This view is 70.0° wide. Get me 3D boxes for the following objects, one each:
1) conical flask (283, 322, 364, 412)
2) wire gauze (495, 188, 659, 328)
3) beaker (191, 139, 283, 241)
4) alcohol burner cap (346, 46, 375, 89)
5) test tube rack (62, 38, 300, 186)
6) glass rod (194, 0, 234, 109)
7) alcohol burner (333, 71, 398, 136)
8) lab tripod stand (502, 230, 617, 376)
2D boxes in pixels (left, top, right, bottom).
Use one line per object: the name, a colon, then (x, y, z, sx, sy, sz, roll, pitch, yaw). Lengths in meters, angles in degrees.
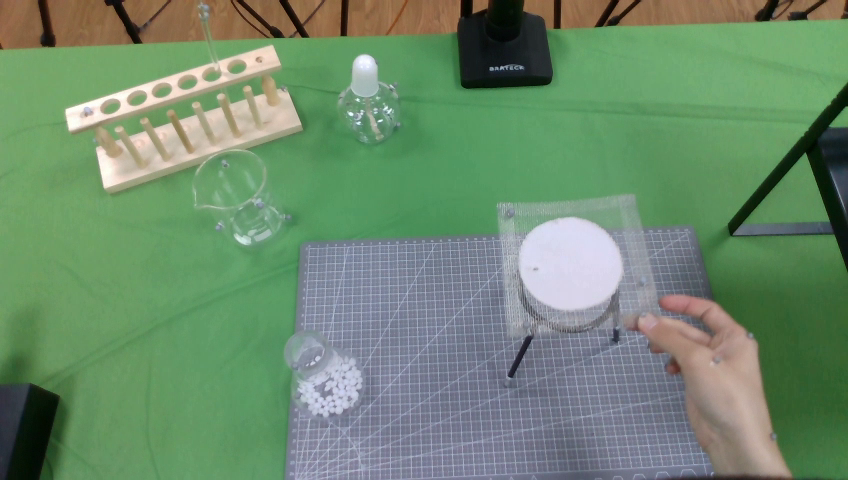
conical flask: (-0.100, 0.113, 0.566, 0.075, 0.123, 0.074, 0, 63, 1)
wire gauze: (0.124, 0.011, 0.506, 0.121, 0.011, 0.124, -3, 63, 3)
beaker: (-0.201, -0.048, 0.662, 0.084, 0.101, 0.073, -42, 70, -17)
alcohol burner cap: (-0.071, -0.198, 0.685, 0.034, 0.048, 0.033, 4, 62, -7)
test tube rack: (-0.281, -0.151, 0.721, 0.242, 0.086, 0.066, -21, 65, -9)
glass rod: (-0.236, -0.214, 0.677, 0.008, 0.201, 0.008, 2, 62, -3)
alcohol burner: (-0.070, -0.180, 0.717, 0.078, 0.120, 0.077, 0, 62, 0)
lab tripod stand: (0.128, 0.058, 0.584, 0.148, 0.132, 0.147, 0, 62, 0)
